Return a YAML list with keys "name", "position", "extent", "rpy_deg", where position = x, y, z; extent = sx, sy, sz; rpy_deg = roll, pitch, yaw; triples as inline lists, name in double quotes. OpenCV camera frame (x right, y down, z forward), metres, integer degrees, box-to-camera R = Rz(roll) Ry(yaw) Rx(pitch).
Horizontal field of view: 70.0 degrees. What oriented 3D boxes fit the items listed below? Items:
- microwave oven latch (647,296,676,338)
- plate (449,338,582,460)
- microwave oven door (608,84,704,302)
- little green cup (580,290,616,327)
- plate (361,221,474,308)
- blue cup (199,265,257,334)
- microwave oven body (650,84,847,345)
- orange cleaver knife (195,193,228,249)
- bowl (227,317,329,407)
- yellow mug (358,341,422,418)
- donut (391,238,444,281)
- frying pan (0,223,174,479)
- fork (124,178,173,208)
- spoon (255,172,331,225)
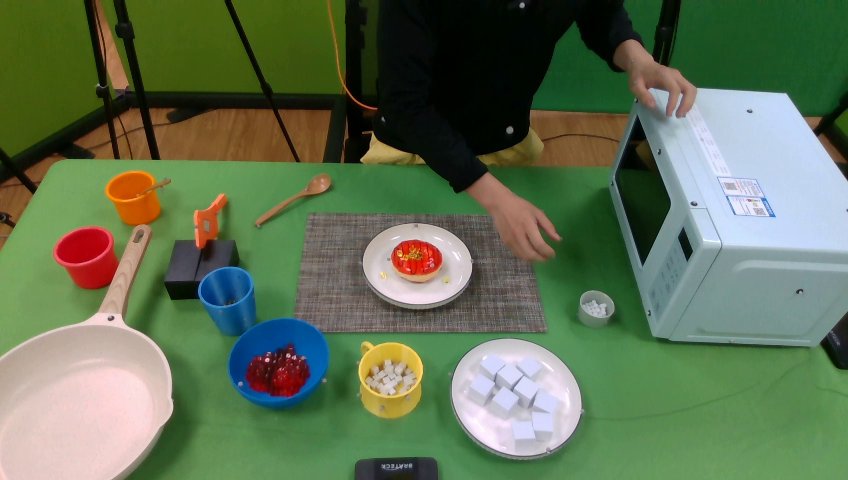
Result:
- name: "microwave oven latch"
  position: [0.413, 0.133, 1.060]
  extent: [0.030, 0.029, 0.078]
  rpy_deg: [4, 46, 1]
- name: "plate"
  position: [0.141, 0.251, 0.955]
  extent: [0.208, 0.039, 0.206]
  rpy_deg: [2, 46, -2]
- name: "microwave oven door"
  position: [0.424, -0.096, 1.138]
  extent: [0.039, 0.245, 0.353]
  rpy_deg: [3, 46, -1]
- name: "little green cup"
  position: [0.309, 0.124, 1.086]
  extent: [0.061, 0.039, 0.061]
  rpy_deg: [2, 43, -2]
- name: "plate"
  position: [-0.011, 0.049, 1.130]
  extent: [0.209, 0.038, 0.208]
  rpy_deg: [2, 46, -2]
- name: "blue cup"
  position: [-0.320, 0.106, 1.015]
  extent: [0.093, 0.101, 0.092]
  rpy_deg: [2, 48, -2]
- name: "microwave oven body"
  position: [0.568, -0.054, 1.116]
  extent: [0.326, 0.261, 0.439]
  rpy_deg: [2, 46, -1]
- name: "orange cleaver knife"
  position: [-0.406, -0.041, 1.163]
  extent: [0.012, 0.077, 0.210]
  rpy_deg: [0, 18, -3]
- name: "bowl"
  position: [-0.222, 0.203, 0.947]
  extent: [0.151, 0.077, 0.150]
  rpy_deg: [2, 46, -2]
- name: "yellow mug"
  position: [-0.063, 0.210, 0.960]
  extent: [0.100, 0.064, 0.130]
  rpy_deg: [-29, 54, -28]
- name: "donut"
  position: [-0.012, 0.035, 1.128]
  extent: [0.099, 0.048, 0.098]
  rpy_deg: [3, 43, -3]
- name: "frying pan"
  position: [-0.505, 0.169, 0.941]
  extent: [0.307, 0.103, 0.485]
  rpy_deg: [5, 54, -1]
- name: "fork"
  position: [-0.525, -0.090, 1.154]
  extent: [0.207, 0.019, 0.028]
  rpy_deg: [-17, 27, 45]
- name: "spoon"
  position: [-0.272, -0.087, 1.256]
  extent: [0.041, 0.022, 0.193]
  rpy_deg: [43, 57, 17]
